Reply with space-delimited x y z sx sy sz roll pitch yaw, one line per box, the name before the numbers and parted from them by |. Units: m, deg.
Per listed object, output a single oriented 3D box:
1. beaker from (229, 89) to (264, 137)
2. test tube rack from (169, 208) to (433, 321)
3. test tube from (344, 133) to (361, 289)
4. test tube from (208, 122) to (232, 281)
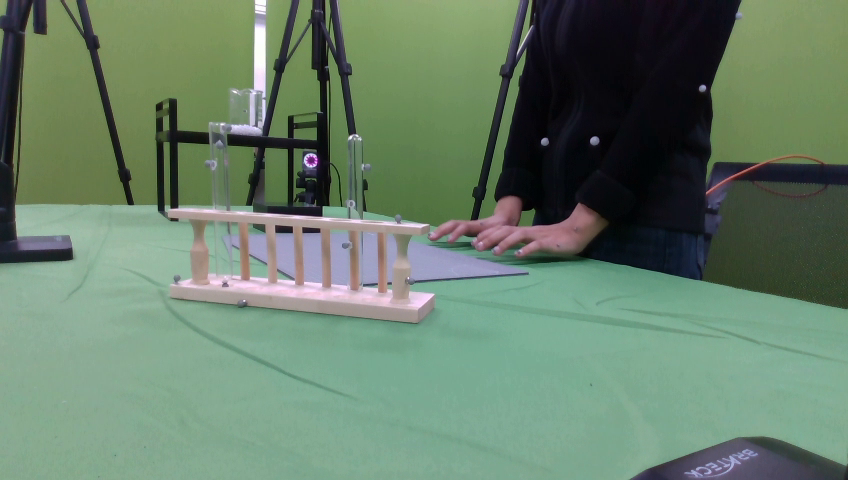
beaker | -0.391 -0.277 1.329 0.074 0.100 0.084 2 8 -1
test tube rack | -0.115 0.018 0.574 0.242 0.085 0.067 4 8 14
test tube | -0.068 -0.025 0.575 0.017 0.150 0.017 1 11 0
test tube | -0.191 -0.034 0.565 0.017 0.150 0.017 1 11 0
